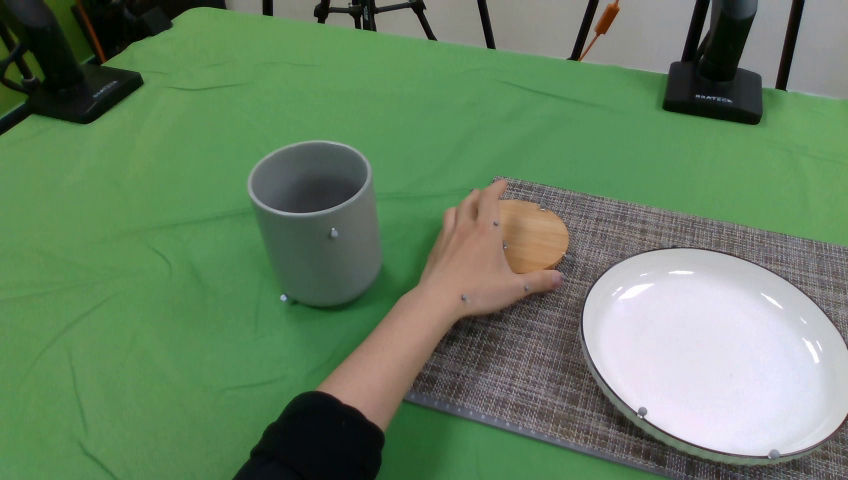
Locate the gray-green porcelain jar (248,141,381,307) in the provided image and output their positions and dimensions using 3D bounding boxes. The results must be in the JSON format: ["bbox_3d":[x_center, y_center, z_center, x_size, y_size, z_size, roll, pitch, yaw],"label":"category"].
[{"bbox_3d":[-0.095,-0.009,0.556,0.106,0.127,0.105,-1,44,1],"label":"gray-green porcelain jar"}]

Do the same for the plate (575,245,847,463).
[{"bbox_3d":[0.229,0.090,0.500,0.208,0.039,0.205,-1,44,1],"label":"plate"}]

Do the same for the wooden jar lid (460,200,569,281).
[{"bbox_3d":[0.090,0.001,0.610,0.108,0.021,0.107,0,44,1],"label":"wooden jar lid"}]
